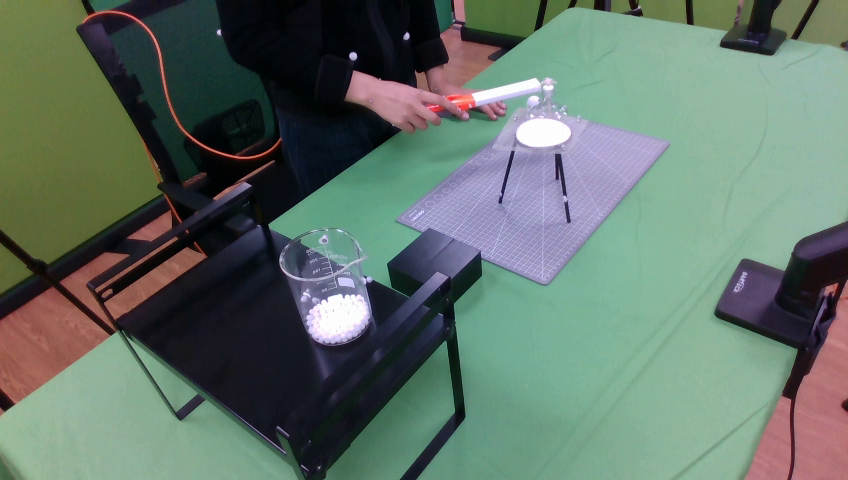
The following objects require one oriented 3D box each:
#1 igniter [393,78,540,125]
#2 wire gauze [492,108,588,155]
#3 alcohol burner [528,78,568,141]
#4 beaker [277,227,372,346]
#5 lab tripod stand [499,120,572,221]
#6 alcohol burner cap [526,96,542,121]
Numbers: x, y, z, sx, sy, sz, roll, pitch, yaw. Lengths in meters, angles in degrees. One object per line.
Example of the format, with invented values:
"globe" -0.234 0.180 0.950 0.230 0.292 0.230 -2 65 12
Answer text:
"igniter" 0.080 -0.257 1.122 0.277 0.025 0.057 -14 42 -5
"wire gauze" 0.185 -0.170 0.953 0.121 0.011 0.125 13 44 22
"alcohol burner" 0.238 -0.253 1.163 0.078 0.119 0.077 -6 40 6
"beaker" -0.090 0.048 0.593 0.084 0.101 0.073 -3 41 5
"lab tripod stand" 0.198 -0.117 0.992 0.148 0.132 0.147 -3 40 3
"alcohol burner cap" 0.226 -0.272 1.243 0.034 0.048 0.033 -5 40 5
